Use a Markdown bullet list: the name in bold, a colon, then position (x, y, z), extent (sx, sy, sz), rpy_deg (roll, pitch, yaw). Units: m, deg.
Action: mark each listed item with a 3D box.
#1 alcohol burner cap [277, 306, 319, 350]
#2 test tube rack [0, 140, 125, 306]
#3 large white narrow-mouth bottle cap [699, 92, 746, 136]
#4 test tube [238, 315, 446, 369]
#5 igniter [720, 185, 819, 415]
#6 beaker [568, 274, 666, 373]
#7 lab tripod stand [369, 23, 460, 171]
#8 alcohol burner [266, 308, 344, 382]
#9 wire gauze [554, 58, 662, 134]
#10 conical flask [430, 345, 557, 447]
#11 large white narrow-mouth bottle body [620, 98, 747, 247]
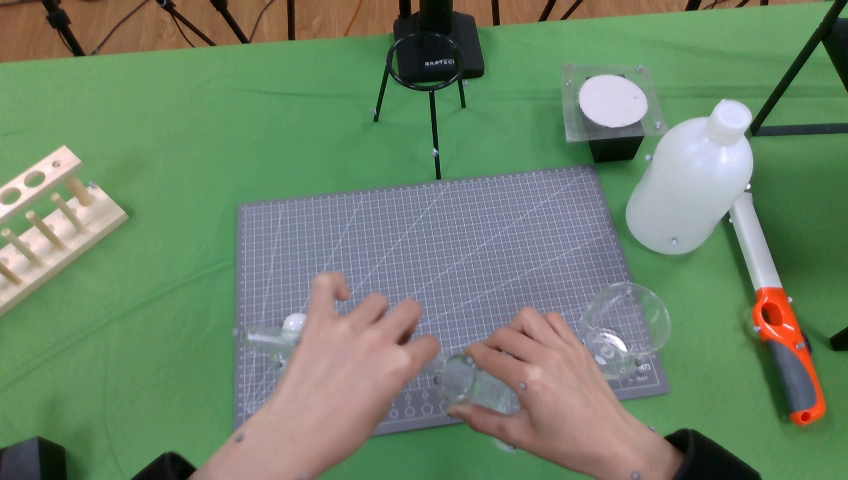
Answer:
- **alcohol burner cap**: position (-0.119, 0.080, 0.565), extent (0.034, 0.048, 0.033), rpy_deg (-2, 61, 4)
- **test tube rack**: position (-0.465, 0.005, 0.661), extent (0.066, 0.086, 0.242), rpy_deg (38, 68, 18)
- **large white narrow-mouth bottle cap**: position (0.284, -0.121, 0.579), extent (0.038, 0.024, 0.037), rpy_deg (0, 61, 0)
- **test tube**: position (-0.059, 0.072, 0.435), extent (0.150, 0.017, 0.017), rpy_deg (10, 62, 1)
- **igniter**: position (0.380, 0.056, 0.678), extent (0.057, 0.025, 0.274), rpy_deg (3, 61, -11)
- **beaker**: position (0.187, 0.089, 0.613), extent (0.084, 0.101, 0.073), rpy_deg (-2, 61, 0)
- **lab tripod stand**: position (-0.002, -0.180, 0.741), extent (0.148, 0.132, 0.147), rpy_deg (1, 62, -2)
- **alcohol burner**: position (-0.119, 0.097, 0.597), extent (0.078, 0.120, 0.077), rpy_deg (1, 60, -2)
- **wire gauze**: position (0.227, -0.184, 0.761), extent (0.121, 0.011, 0.124), rpy_deg (0, 61, -1)
- **conical flask**: position (0.052, 0.120, 0.487), extent (0.075, 0.123, 0.074), rpy_deg (-17, 57, 28)
- **large white narrow-mouth bottle body**: position (0.284, -0.077, 0.654), extent (0.102, 0.196, 0.101), rpy_deg (0, 61, 0)
